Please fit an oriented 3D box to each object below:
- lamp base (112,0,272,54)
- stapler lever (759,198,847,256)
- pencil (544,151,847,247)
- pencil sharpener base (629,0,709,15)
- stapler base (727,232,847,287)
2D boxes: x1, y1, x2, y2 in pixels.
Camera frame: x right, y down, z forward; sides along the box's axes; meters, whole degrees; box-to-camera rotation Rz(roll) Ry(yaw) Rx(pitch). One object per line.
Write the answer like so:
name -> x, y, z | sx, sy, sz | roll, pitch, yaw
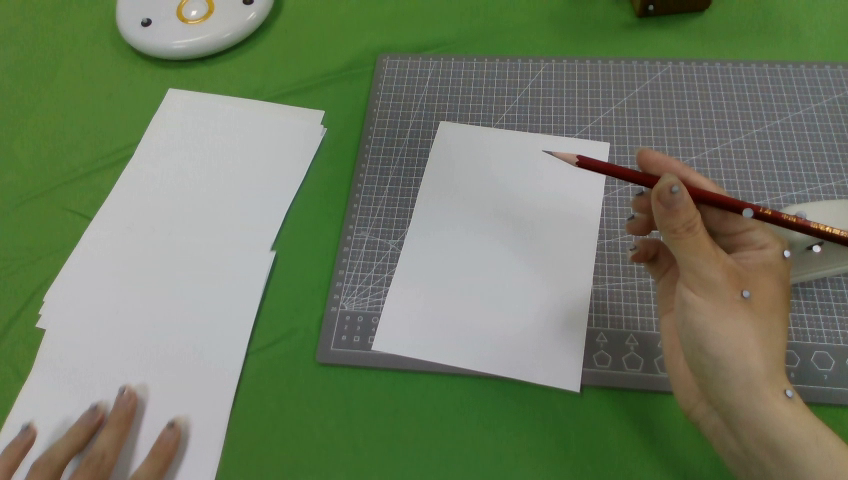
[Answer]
lamp base -> -0.241, -0.292, 0.544 | 0.161, 0.182, 0.177 | -24, 59, -9
stapler lever -> 0.282, -0.013, 0.402 | 0.118, 0.040, 0.026 | -11, 61, -3
pencil -> 0.154, -0.019, 0.311 | 0.193, 0.012, 0.012 | 20, 64, 19
pencil sharpener base -> 0.219, -0.260, 0.531 | 0.077, 0.108, 0.061 | -7, 60, 2
stapler base -> 0.282, 0.000, 0.423 | 0.130, 0.024, 0.041 | -11, 61, -3
